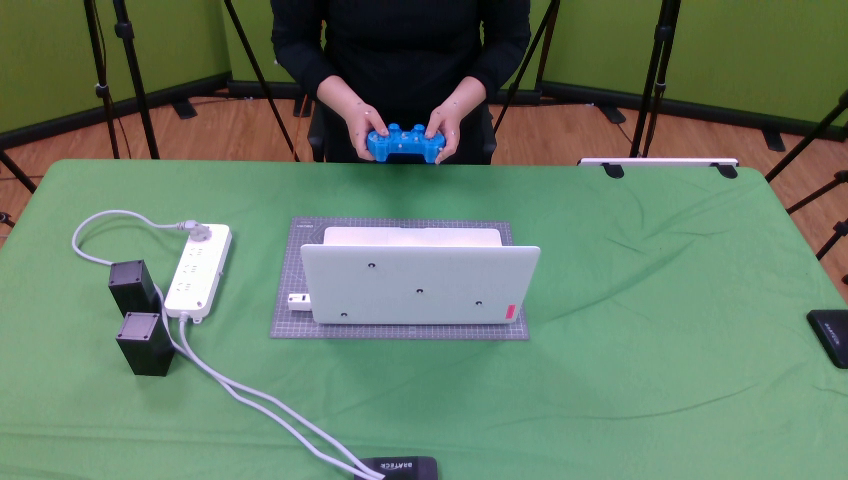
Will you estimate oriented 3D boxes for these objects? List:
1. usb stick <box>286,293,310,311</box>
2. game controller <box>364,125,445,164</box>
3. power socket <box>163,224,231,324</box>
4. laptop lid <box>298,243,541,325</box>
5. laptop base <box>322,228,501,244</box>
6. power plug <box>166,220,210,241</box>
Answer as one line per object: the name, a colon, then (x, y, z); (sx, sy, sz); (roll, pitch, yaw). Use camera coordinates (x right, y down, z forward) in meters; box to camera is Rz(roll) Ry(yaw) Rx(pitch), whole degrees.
usb stick: (-0.210, 0.109, 1.059); (0.059, 0.027, 0.021); (4, 44, -6)
game controller: (-0.036, -0.187, 1.142); (0.155, 0.052, 0.096); (1, 38, -3)
power socket: (-0.411, 0.052, 1.107); (0.072, 0.033, 0.225); (3, 46, -3)
laptop lid: (-0.010, 0.076, 0.958); (0.357, 0.243, 0.013); (1, 53, -5)
laptop base: (-0.020, 0.063, 1.136); (0.355, 0.023, 0.234); (0, 43, -4)
power plug: (-0.440, -0.016, 1.143); (0.072, 0.053, 0.035); (7, 46, 8)
